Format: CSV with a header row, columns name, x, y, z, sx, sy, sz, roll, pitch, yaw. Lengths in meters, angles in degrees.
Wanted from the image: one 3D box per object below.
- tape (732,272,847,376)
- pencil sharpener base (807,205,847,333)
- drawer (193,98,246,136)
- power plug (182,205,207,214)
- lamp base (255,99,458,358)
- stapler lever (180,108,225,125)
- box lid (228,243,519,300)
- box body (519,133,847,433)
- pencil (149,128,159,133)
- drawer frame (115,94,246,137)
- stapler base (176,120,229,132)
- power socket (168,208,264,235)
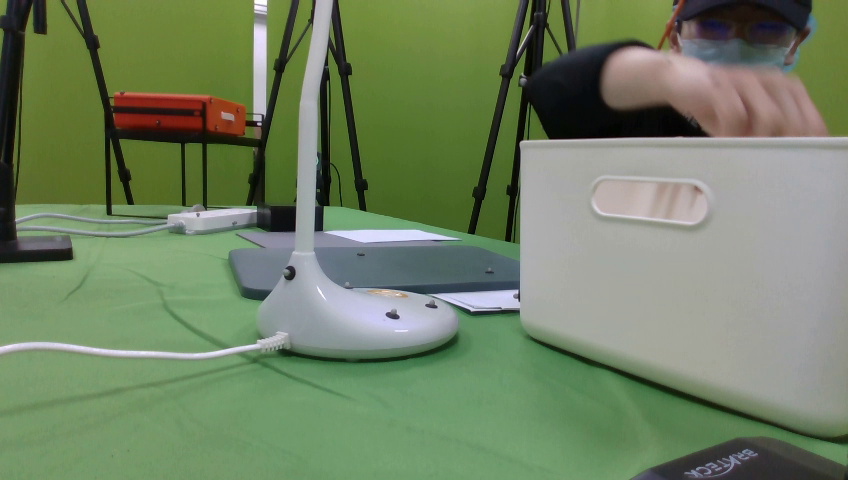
name,x,y,z,sx,sy,sz,roll,pitch,yaw
tape,0.295,0.059,0.455,0.117,0.052,0.117,2,7,0
pencil sharpener base,0.386,0.027,0.519,0.062,0.107,0.076,-5,11,-43
drawer,-0.539,-0.279,1.374,0.212,0.073,0.194,2,8,5
power plug,-0.455,-0.041,1.196,0.052,0.035,0.072,1,41,23
lamp base,-0.056,-0.013,0.462,0.160,0.180,0.180,6,11,27
stapler lever,-0.496,-0.281,1.359,0.027,0.040,0.118,2,8,22
box lid,-0.044,0.033,0.757,0.373,0.015,0.262,-1,9,-22
box body,0.279,0.005,0.485,0.366,0.160,0.253,-3,9,-36
pencil,-0.528,-0.258,1.360,0.012,0.012,0.195,8,20,35
drawer frame,-0.543,-0.281,1.374,0.213,0.082,0.201,2,8,4
stapler base,-0.496,-0.257,1.364,0.041,0.024,0.131,2,9,22
power socket,-0.381,-0.038,1.129,0.072,0.032,0.227,4,8,17
